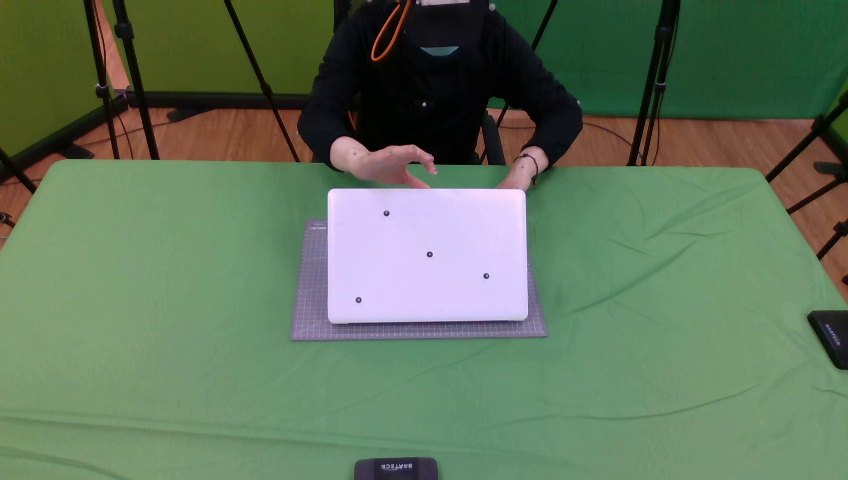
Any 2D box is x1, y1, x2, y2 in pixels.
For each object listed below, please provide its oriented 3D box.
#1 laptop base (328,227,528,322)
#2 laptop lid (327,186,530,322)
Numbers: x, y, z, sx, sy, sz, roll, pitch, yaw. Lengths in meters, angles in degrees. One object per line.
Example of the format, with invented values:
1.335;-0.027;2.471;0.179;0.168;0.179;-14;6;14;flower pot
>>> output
0.005;0.061;1.136;0.355;0.023;0.234;0;43;-4;laptop base
0.010;0.023;1.053;0.357;0.013;0.241;1;88;-4;laptop lid
